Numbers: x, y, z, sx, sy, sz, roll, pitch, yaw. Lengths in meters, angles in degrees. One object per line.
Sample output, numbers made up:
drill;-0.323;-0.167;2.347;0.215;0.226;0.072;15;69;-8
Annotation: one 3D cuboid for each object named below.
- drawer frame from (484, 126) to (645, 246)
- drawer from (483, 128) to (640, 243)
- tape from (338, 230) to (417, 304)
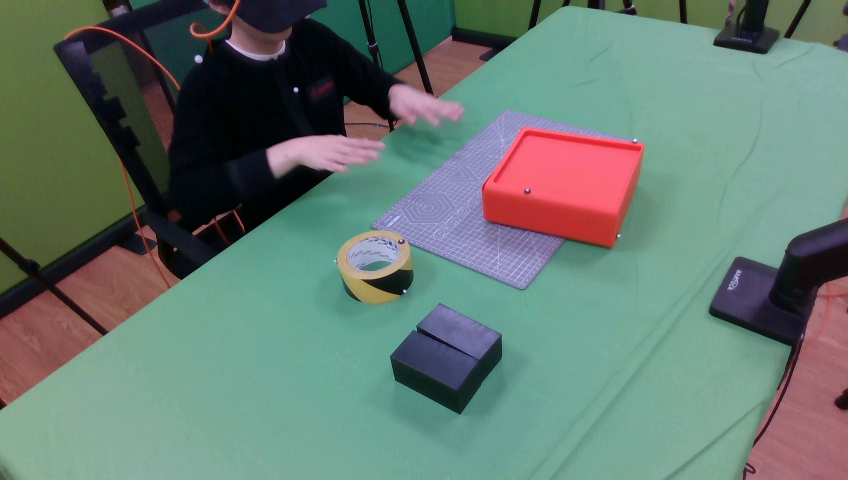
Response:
drawer frame;0.234;-0.096;1.003;0.212;0.083;0.202;14;44;22
drawer;0.230;-0.096;1.006;0.210;0.073;0.194;14;44;23
tape;-0.069;0.041;0.918;0.117;0.053;0.116;-4;41;4
